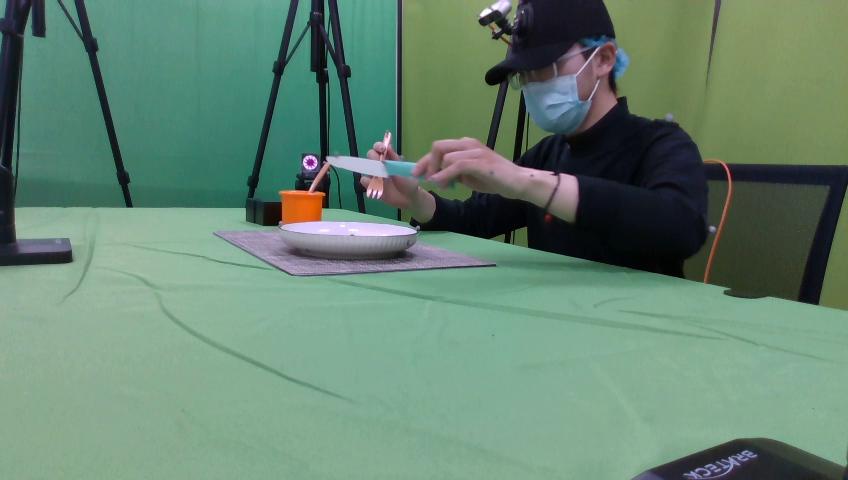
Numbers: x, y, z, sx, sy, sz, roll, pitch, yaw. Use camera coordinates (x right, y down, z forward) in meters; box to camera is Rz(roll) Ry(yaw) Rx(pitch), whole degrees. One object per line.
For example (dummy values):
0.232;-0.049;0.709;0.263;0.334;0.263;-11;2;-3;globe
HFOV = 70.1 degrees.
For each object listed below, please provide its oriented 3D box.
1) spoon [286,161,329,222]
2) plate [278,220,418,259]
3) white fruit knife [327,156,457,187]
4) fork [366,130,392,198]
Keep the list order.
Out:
-0.233;-0.101;1.252;0.041;0.193;0.022;3;-37;22;spoon
-0.114;-0.002;0.914;0.209;0.038;0.209;2;8;0;plate
-0.049;-0.102;0.855;0.207;0.027;0.016;10;9;21;white fruit knife
-0.078;-0.141;1.098;0.028;0.018;0.207;9;46;-1;fork
